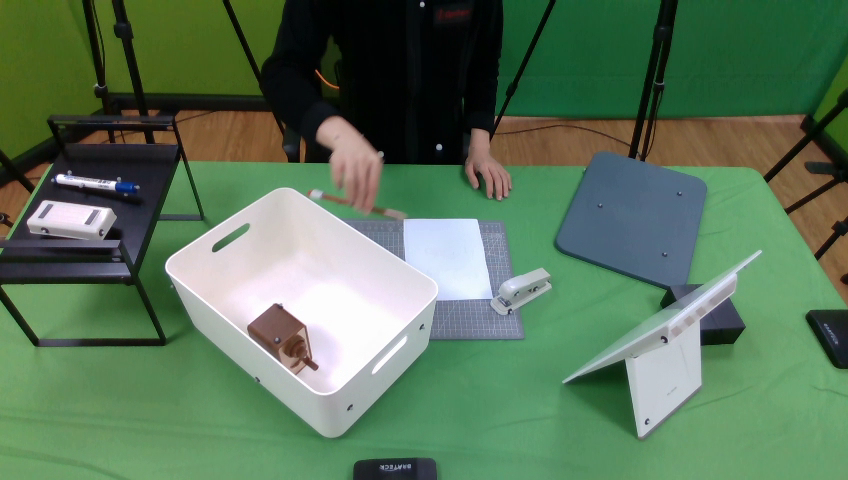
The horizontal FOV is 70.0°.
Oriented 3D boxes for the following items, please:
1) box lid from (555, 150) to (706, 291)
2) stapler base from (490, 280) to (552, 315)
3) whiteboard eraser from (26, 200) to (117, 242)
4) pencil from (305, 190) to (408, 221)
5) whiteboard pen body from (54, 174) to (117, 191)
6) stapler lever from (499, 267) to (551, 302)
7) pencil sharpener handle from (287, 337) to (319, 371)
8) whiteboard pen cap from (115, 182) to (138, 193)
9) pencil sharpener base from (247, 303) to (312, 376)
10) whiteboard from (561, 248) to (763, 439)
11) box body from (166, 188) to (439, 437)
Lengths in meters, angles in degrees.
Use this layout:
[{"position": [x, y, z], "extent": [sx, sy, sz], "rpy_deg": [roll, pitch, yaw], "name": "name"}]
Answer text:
[{"position": [0.451, -0.059, 1.297], "extent": [0.263, 0.015, 0.370], "rpy_deg": [20, 48, 15], "name": "box lid"}, {"position": [0.181, 0.094, 1.118], "extent": [0.130, 0.024, 0.041], "rpy_deg": [-24, 57, -29], "name": "stapler base"}, {"position": [-0.532, -0.026, 0.919], "extent": [0.113, 0.042, 0.055], "rpy_deg": [7, 45, 3], "name": "whiteboard eraser"}, {"position": [-0.105, -0.052, 0.924], "extent": [0.193, 0.012, 0.012], "rpy_deg": [16, 46, 27], "name": "pencil"}, {"position": [-0.541, -0.093, 0.993], "extent": [0.140, 0.017, 0.017], "rpy_deg": [7, 46, 9], "name": "whiteboard pen body"}, {"position": [0.185, 0.076, 1.101], "extent": [0.118, 0.040, 0.026], "rpy_deg": [-25, 57, -29], "name": "stapler lever"}, {"position": [-0.182, 0.178, 0.928], "extent": [0.030, 0.068, 0.036], "rpy_deg": [32, 68, 23], "name": "pencil sharpener handle"}, {"position": [-0.483, -0.086, 0.984], "extent": [0.033, 0.018, 0.018], "rpy_deg": [7, 46, 10], "name": "whiteboard pen cap"}, {"position": [-0.224, 0.165, 0.955], "extent": [0.076, 0.107, 0.061], "rpy_deg": [32, 54, 23], "name": "pencil sharpener base"}, {"position": [0.386, 0.176, 0.905], "extent": [0.217, 0.306, 0.143], "rpy_deg": [-26, 72, -27], "name": "whiteboard"}, {"position": [-0.190, 0.108, 0.980], "extent": [0.362, 0.161, 0.254], "rpy_deg": [32, 52, 24], "name": "box body"}]
